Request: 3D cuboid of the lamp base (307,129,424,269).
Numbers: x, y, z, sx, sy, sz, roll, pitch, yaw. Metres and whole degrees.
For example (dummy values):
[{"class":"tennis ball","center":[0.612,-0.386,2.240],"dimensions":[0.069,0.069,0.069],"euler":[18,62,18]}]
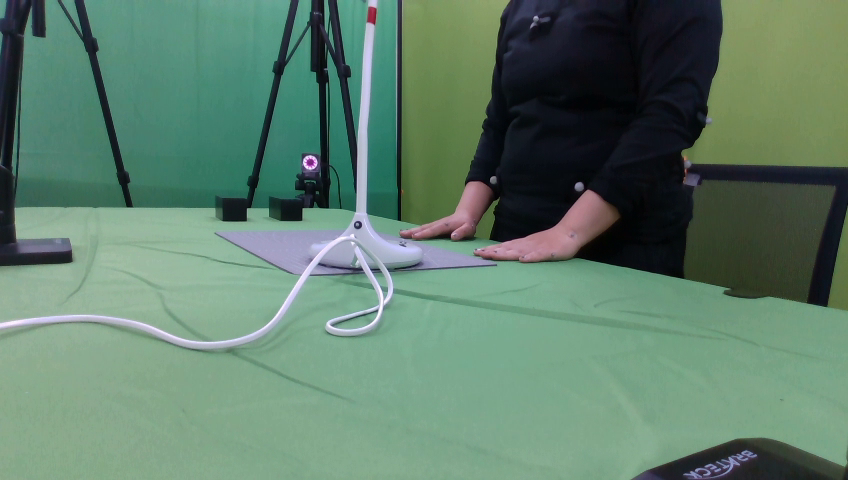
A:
[{"class":"lamp base","center":[-0.076,-0.057,0.811],"dimensions":[0.161,0.180,0.179],"euler":[2,10,-4]}]
